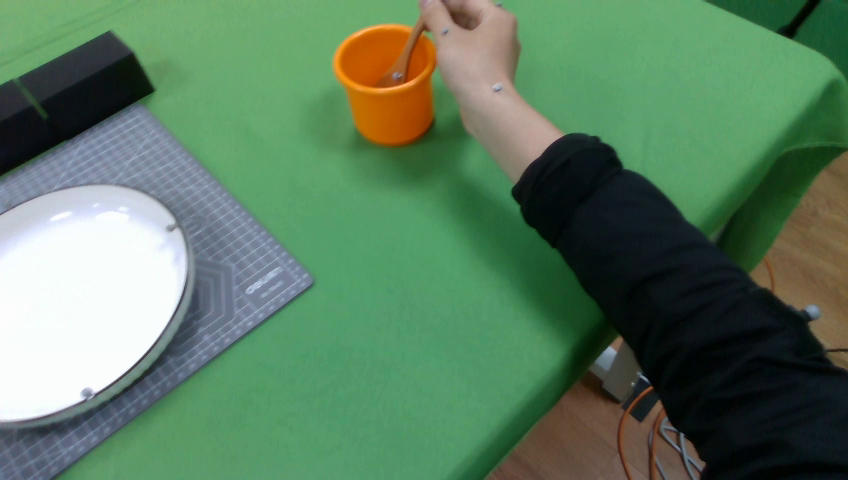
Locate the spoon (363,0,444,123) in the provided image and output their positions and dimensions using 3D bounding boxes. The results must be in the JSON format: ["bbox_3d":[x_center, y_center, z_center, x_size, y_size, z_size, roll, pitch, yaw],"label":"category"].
[{"bbox_3d":[-0.001,-0.184,0.529,0.022,0.194,0.041,-11,53,-49],"label":"spoon"}]

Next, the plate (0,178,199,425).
[{"bbox_3d":[-0.275,0.043,0.468,0.209,0.038,0.207,-1,56,3],"label":"plate"}]
